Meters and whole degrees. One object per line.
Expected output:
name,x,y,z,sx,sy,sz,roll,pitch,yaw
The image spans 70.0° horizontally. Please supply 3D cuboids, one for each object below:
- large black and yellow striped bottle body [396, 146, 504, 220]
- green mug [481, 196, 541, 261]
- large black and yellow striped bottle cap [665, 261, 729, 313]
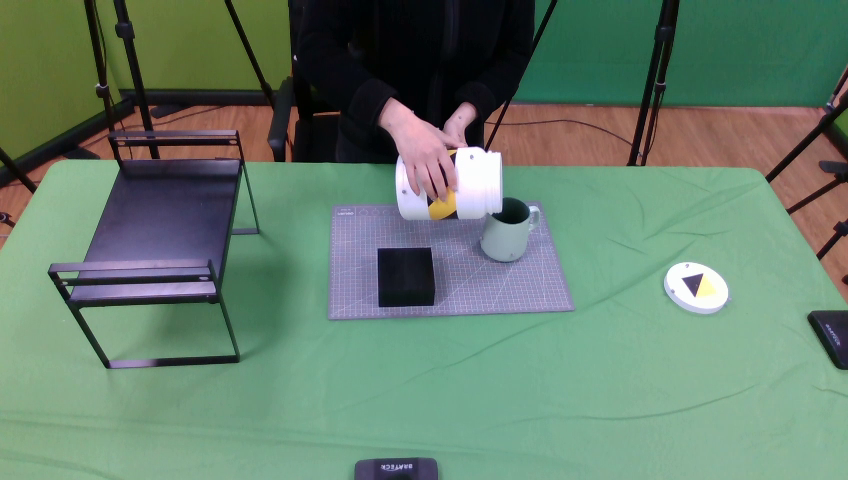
large black and yellow striped bottle body,0.050,-0.103,1.096,0.184,0.131,0.130,0,46,10
green mug,0.174,-0.027,1.173,0.125,0.105,0.092,-22,51,-23
large black and yellow striped bottle cap,0.518,0.087,1.152,0.115,0.019,0.114,2,47,-2
